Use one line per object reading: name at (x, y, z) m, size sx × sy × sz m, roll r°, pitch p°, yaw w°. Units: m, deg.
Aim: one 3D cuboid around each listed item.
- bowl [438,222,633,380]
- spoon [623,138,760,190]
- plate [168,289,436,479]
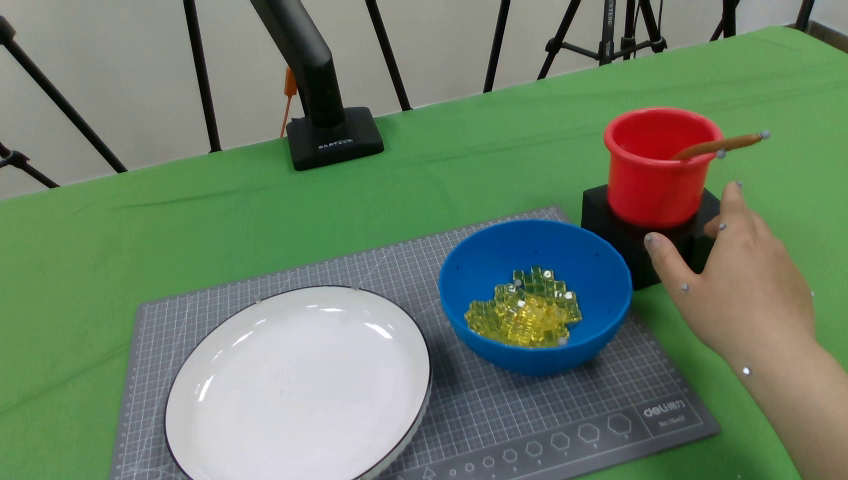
bowl at (0.089, 0.061, 0.497) m, size 0.151 × 0.077 × 0.150 m, roll -4°, pitch 39°, yaw 4°
spoon at (0.214, -0.062, 0.500) m, size 0.041 × 0.021 × 0.194 m, roll -8°, pitch -5°, yaw -3°
plate at (-0.093, 0.123, 0.484) m, size 0.207 × 0.039 × 0.205 m, roll -5°, pitch 39°, yaw 4°
